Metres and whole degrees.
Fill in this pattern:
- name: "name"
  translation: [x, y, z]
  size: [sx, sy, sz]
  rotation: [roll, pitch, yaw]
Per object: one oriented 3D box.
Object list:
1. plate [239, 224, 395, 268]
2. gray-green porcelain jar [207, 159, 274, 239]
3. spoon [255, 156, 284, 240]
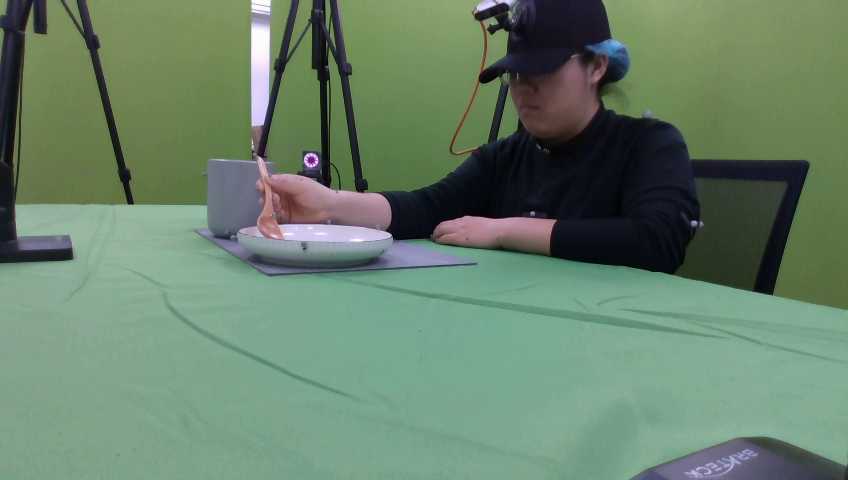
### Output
- name: "plate"
  translation: [-0.144, 0.007, 0.823]
  size: [0.208, 0.039, 0.207]
  rotation: [3, 7, 0]
- name: "gray-green porcelain jar"
  translation: [-0.304, -0.068, 1.003]
  size: [0.106, 0.126, 0.106]
  rotation: [3, 7, 0]
- name: "spoon"
  translation: [-0.224, -0.062, 0.863]
  size: [0.042, 0.021, 0.193]
  rotation: [27, 31, -38]
